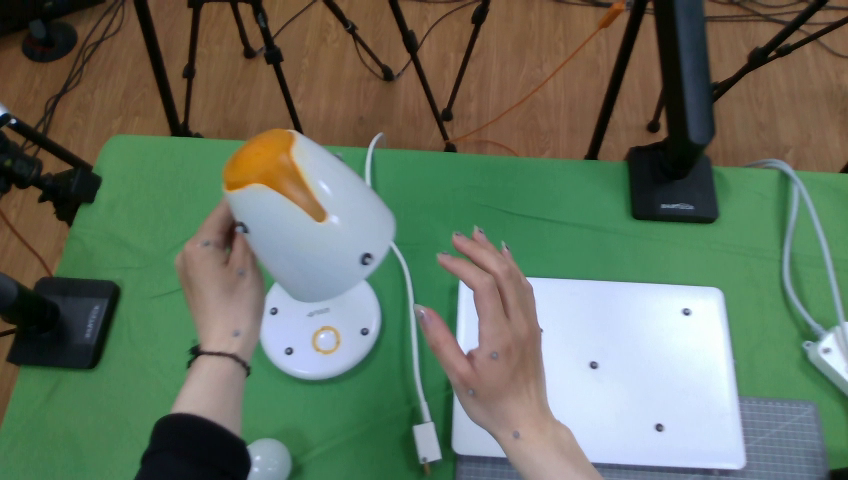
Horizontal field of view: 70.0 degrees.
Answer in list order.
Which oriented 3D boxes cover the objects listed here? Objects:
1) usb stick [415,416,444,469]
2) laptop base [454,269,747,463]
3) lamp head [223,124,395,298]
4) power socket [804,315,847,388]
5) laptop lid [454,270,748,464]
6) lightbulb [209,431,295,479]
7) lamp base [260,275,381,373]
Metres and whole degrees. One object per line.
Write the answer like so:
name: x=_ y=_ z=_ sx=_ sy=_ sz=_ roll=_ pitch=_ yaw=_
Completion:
usb stick: x=0.008 y=0.246 z=0.735 sx=0.027 sy=0.021 sz=0.059 roll=-10 pitch=74 yaw=-4
laptop base: x=0.218 y=0.156 z=0.781 sx=0.354 sy=0.023 sz=0.234 roll=2 pitch=67 yaw=2
lamp head: x=-0.100 y=-0.032 z=0.481 sx=0.112 sy=0.124 sz=0.111 roll=-24 pitch=37 yaw=20
power socket: x=0.589 y=0.190 z=0.754 sx=0.072 sy=0.033 sz=0.225 roll=-36 pitch=69 yaw=-15
laptop lid: x=0.217 y=0.153 z=0.769 sx=0.357 sy=0.013 sz=0.240 roll=4 pitch=66 yaw=2
lightbulb: x=-0.206 y=0.258 z=0.718 sx=0.107 sy=0.060 sz=0.059 roll=-4 pitch=64 yaw=15
lamp base: x=-0.144 y=0.055 z=0.739 sx=0.161 sy=0.181 sz=0.177 roll=-25 pitch=64 yaw=-11
